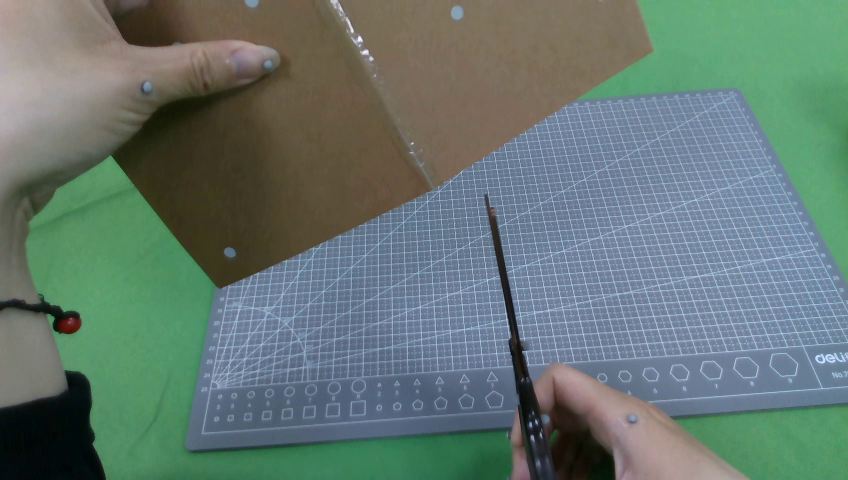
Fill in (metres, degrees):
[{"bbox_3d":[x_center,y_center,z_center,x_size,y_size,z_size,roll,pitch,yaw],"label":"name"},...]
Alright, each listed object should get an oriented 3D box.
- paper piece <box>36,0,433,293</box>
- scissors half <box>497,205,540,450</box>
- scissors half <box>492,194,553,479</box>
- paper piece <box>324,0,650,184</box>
[{"bbox_3d":[-0.087,-0.050,0.288,0.138,0.137,0.008,-23,23,14],"label":"paper piece"},{"bbox_3d":[0.048,0.056,0.303,0.013,0.177,0.039,-8,37,7],"label":"scissors half"},{"bbox_3d":[0.047,0.065,0.281,0.013,0.040,0.175,-10,95,3],"label":"scissors half"},{"bbox_3d":[0.028,-0.115,0.274,0.136,0.136,0.004,-31,27,-2],"label":"paper piece"}]
